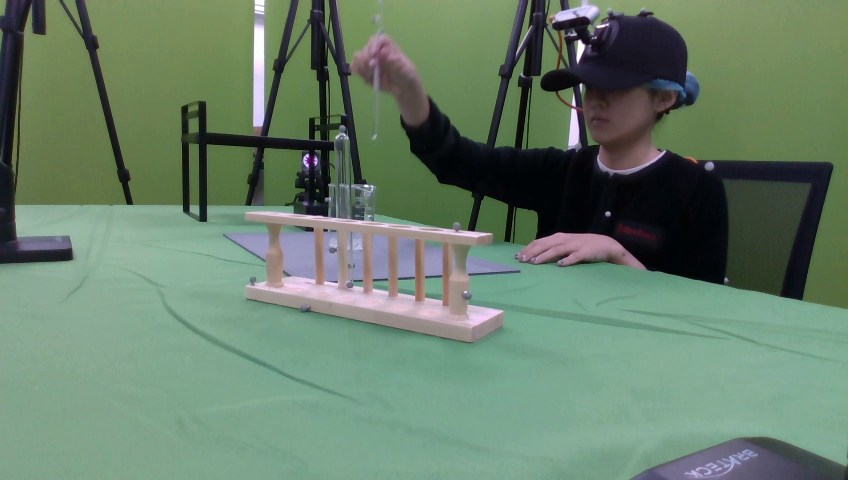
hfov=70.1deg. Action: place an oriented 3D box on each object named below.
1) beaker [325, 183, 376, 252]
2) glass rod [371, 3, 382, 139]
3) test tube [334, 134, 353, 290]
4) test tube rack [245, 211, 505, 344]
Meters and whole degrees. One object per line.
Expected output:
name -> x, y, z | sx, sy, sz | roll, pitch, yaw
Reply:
beaker -> -0.110, -0.034, 0.920 | 0.083, 0.100, 0.074 | 10, 11, 43
glass rod -> -0.070, -0.246, 0.878 | 0.008, 0.199, 0.008 | 2, -2, 0
test tube -> -0.077, -0.026, 0.579 | 0.017, 0.150, 0.017 | 0, 7, 0
test tube rack -> -0.049, 0.025, 0.547 | 0.241, 0.085, 0.067 | 7, 8, 29
